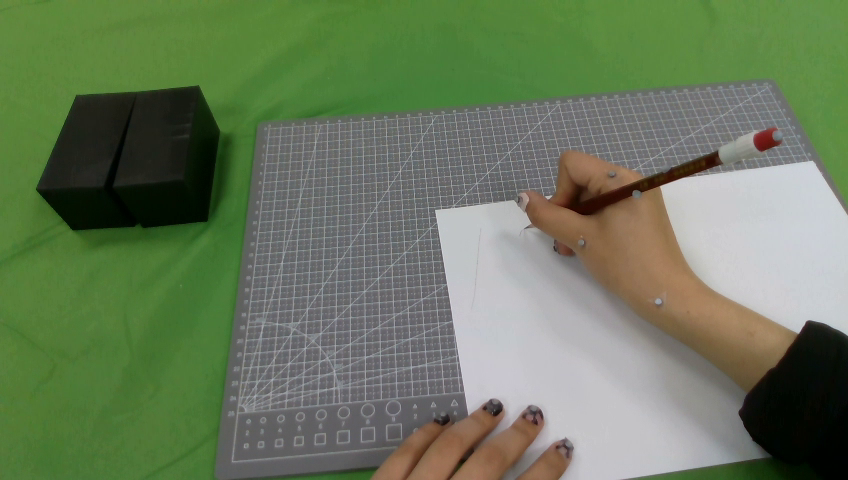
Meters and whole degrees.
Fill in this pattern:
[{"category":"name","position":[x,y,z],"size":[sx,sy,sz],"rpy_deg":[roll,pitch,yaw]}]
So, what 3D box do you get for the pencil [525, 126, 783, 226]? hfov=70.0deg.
[{"category":"pencil","position":[0.121,-0.030,0.366],"size":[0.012,0.193,0.012],"rpy_deg":[7,75,-27]}]
